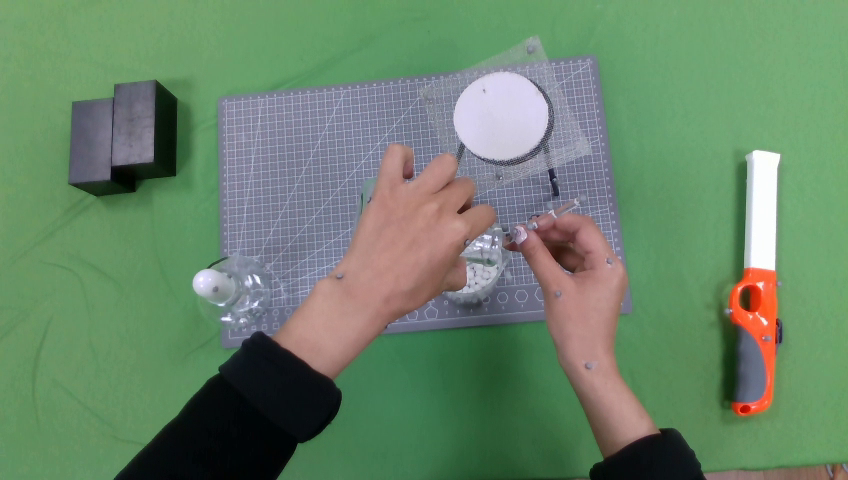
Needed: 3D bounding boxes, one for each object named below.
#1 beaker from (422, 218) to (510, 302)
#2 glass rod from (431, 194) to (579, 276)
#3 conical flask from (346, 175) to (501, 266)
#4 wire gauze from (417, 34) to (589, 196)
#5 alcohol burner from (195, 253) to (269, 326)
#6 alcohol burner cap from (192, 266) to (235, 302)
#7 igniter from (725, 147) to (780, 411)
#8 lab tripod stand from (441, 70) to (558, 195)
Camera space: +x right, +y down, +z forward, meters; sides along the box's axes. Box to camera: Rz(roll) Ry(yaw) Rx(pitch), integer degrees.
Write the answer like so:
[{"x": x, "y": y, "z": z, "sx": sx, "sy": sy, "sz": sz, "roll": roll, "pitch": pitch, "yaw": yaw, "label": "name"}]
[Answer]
[{"x": 0.043, "y": 0.024, "z": 0.619, "sx": 0.084, "sy": 0.101, "sz": 0.073, "roll": -8, "pitch": 79, "yaw": 3, "label": "beaker"}, {"x": 0.061, "y": 0.000, "z": 0.524, "sx": 0.008, "sy": 0.199, "sz": 0.008, "roll": 13, "pitch": 64, "yaw": -29, "label": "glass rod"}, {"x": 0.001, "y": -0.007, "z": 0.502, "sx": 0.122, "sy": 0.075, "sz": 0.075, "roll": 10, "pitch": 79, "yaw": -9, "label": "conical flask"}, {"x": 0.070, "y": -0.114, "z": 0.557, "sx": 0.125, "sy": 0.011, "sz": 0.121, "roll": -22, "pitch": 80, "yaw": 2, "label": "wire gauze"}, {"x": -0.206, "y": 0.049, "z": 0.628, "sx": 0.078, "sy": 0.119, "sz": 0.077, "roll": -1, "pitch": 80, "yaw": 3, "label": "alcohol burner"}, {"x": -0.208, "y": 0.041, "z": 0.593, "sx": 0.034, "sy": 0.048, "sz": 0.033, "roll": 0, "pitch": 77, "yaw": 0, "label": "alcohol burner cap"}, {"x": 0.343, "y": 0.038, "z": 0.630, "sx": 0.057, "sy": 0.025, "sz": 0.275, "roll": 8, "pitch": 80, "yaw": -4, "label": "igniter"}, {"x": 0.077, "y": -0.100, "z": 0.622, "sx": 0.148, "sy": 0.132, "sz": 0.148, "roll": -1, "pitch": 81, "yaw": 5, "label": "lab tripod stand"}]
